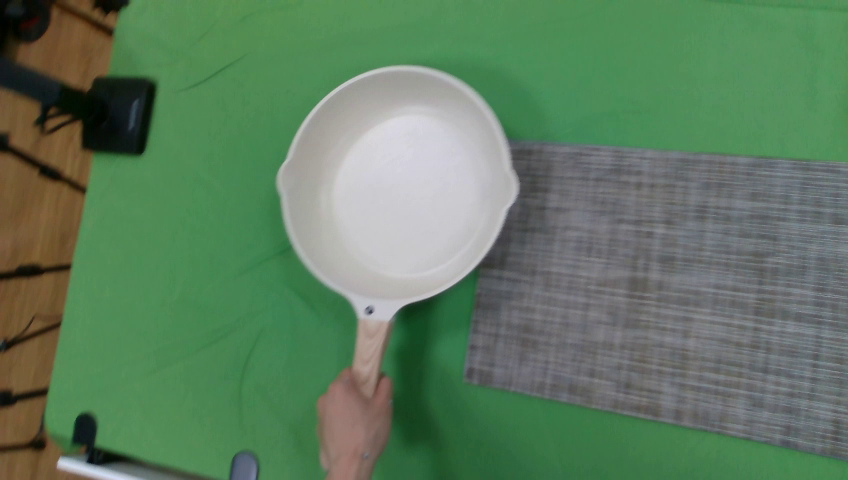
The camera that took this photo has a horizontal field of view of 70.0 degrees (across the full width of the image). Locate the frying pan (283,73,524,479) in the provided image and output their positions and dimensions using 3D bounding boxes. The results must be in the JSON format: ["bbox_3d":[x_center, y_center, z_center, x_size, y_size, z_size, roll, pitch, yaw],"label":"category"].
[{"bbox_3d":[-0.043,0.044,0.720,0.305,0.103,0.485,5,75,20],"label":"frying pan"}]
